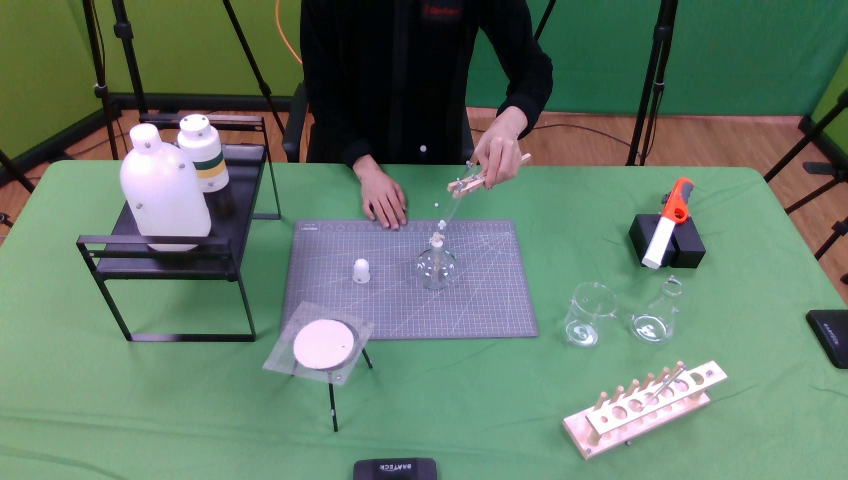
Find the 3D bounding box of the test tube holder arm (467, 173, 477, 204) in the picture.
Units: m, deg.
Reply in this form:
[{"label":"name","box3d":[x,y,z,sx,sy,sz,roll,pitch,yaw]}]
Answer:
[{"label":"test tube holder arm","box3d":[0.080,-0.095,1.027,0.015,0.013,0.177,-11,23,6]}]

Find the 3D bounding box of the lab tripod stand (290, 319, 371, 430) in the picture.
[{"label":"lab tripod stand","box3d":[-0.146,0.193,0.923,0.148,0.132,0.147,1,47,-1]}]

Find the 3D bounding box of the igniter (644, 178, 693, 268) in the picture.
[{"label":"igniter","box3d":[0.488,-0.042,1.204,0.057,0.025,0.276,30,51,10]}]

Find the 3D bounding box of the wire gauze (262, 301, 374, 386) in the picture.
[{"label":"wire gauze","box3d":[-0.150,0.148,0.873,0.121,0.011,0.124,14,46,12]}]

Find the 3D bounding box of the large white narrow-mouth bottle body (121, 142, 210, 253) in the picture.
[{"label":"large white narrow-mouth bottle body","box3d":[-0.378,-0.077,0.875,0.102,0.195,0.101,3,46,-3]}]

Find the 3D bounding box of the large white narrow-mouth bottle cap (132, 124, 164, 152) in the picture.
[{"label":"large white narrow-mouth bottle cap","box3d":[-0.370,-0.138,0.813,0.038,0.024,0.037,3,46,-3]}]

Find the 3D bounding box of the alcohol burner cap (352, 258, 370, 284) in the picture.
[{"label":"alcohol burner cap","box3d":[-0.117,0.055,1.118,0.034,0.048,0.033,1,46,-1]}]

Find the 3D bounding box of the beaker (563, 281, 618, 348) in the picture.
[{"label":"beaker","box3d":[0.283,0.129,1.041,0.074,0.101,0.083,11,46,7]}]

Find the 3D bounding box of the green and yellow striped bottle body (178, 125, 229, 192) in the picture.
[{"label":"green and yellow striped bottle body","box3d":[-0.361,-0.142,0.989,0.063,0.120,0.063,2,46,-2]}]

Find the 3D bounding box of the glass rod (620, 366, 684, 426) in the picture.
[{"label":"glass rod","box3d":[0.322,0.227,0.866,0.008,0.200,0.008,6,51,-7]}]

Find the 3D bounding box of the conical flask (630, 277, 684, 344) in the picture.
[{"label":"conical flask","box3d":[0.408,0.117,1.045,0.075,0.122,0.075,2,46,-2]}]

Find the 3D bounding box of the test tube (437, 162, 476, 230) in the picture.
[{"label":"test tube","box3d":[0.051,-0.069,0.989,0.017,0.151,0.017,13,46,-14]}]

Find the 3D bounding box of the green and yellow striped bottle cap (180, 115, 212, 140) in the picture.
[{"label":"green and yellow striped bottle cap","box3d":[-0.358,-0.177,0.951,0.045,0.020,0.045,2,44,-1]}]

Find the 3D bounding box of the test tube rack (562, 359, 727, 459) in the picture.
[{"label":"test tube rack","box3d":[0.341,0.247,0.940,0.243,0.085,0.066,-16,49,-18]}]

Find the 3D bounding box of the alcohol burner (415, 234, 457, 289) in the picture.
[{"label":"alcohol burner","box3d":[0.022,0.033,1.100,0.078,0.120,0.077,1,47,0]}]

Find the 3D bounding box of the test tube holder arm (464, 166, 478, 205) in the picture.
[{"label":"test tube holder arm","box3d":[0.077,-0.088,0.987,0.015,0.088,0.010,-7,55,7]}]
